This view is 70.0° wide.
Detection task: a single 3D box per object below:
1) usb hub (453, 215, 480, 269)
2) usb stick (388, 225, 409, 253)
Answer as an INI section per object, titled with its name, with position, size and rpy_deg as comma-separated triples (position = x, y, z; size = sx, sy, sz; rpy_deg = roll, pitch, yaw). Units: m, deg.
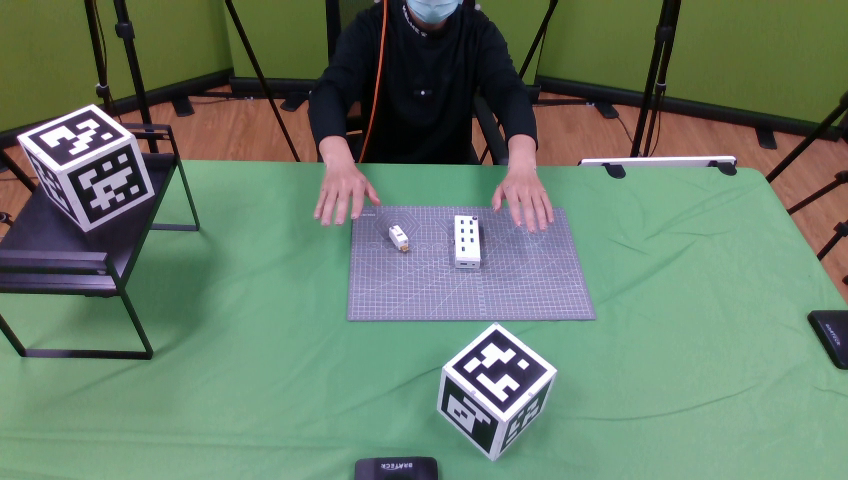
[usb hub]
position = 0.084, 0.003, 1.196
size = 0.049, 0.025, 0.124
rpy_deg = 3, 46, -2
[usb stick]
position = -0.048, 0.000, 1.187
size = 0.021, 0.027, 0.059
rpy_deg = -19, 53, -24
